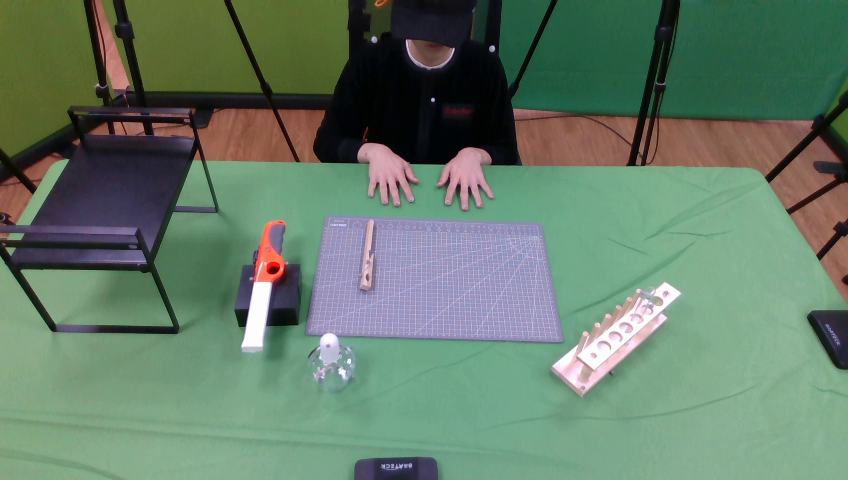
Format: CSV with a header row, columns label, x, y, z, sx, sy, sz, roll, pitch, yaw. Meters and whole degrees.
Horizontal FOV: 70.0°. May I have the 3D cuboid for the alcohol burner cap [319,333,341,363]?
label,x,y,z,sx,sy,sz,roll,pitch,yaw
alcohol burner cap,-0.144,0.161,0.921,0.034,0.048,0.033,2,45,-2

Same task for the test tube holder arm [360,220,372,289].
label,x,y,z,sx,sy,sz,roll,pitch,yaw
test tube holder arm,-0.110,0.024,1.161,0.013,0.015,0.177,28,38,-27

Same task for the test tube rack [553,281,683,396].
label,x,y,z,sx,sy,sz,roll,pitch,yaw
test tube rack,0.329,0.153,1.023,0.242,0.085,0.066,-30,54,-28

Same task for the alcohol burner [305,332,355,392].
label,x,y,z,sx,sy,sz,roll,pitch,yaw
alcohol burner,-0.147,0.183,0.943,0.078,0.119,0.077,2,43,-2

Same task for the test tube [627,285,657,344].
label,x,y,z,sx,sy,sz,roll,pitch,yaw
test tube,0.350,0.124,0.983,0.017,0.151,0.017,0,49,0

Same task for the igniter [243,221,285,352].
label,x,y,z,sx,sy,sz,roll,pitch,yaw
igniter,-0.273,0.068,1.041,0.057,0.025,0.274,2,48,-5

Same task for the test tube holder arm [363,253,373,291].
label,x,y,z,sx,sy,sz,roll,pitch,yaw
test tube holder arm,-0.104,0.058,1.132,0.010,0.015,0.087,28,38,-26
